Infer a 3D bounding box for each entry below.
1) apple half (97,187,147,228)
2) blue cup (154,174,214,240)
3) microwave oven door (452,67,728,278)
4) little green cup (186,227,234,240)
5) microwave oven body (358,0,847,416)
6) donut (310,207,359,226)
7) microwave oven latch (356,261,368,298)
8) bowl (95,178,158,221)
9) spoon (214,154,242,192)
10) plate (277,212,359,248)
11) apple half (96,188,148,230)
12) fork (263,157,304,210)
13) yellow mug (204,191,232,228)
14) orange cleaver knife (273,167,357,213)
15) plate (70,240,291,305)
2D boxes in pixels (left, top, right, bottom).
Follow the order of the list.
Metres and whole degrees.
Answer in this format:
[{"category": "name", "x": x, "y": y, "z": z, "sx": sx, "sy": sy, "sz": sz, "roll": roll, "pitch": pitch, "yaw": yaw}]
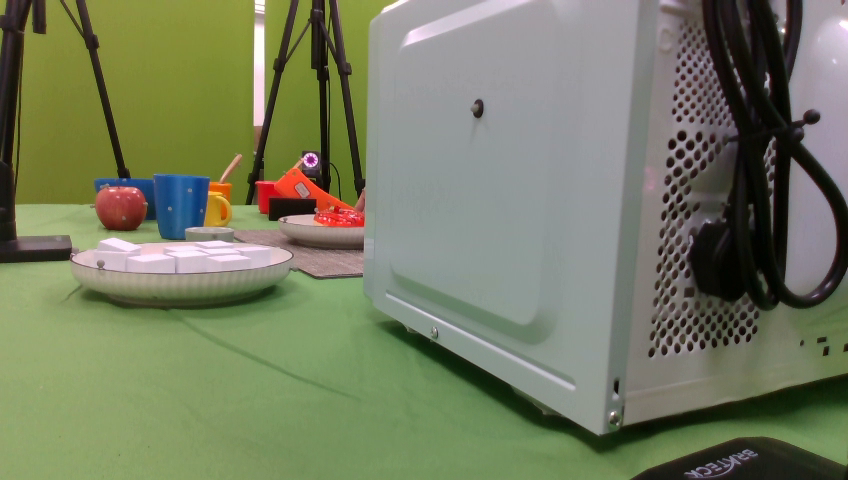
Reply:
[{"category": "apple half", "x": -0.534, "y": -0.059, "z": 1.071, "sx": 0.082, "sy": 0.081, "sz": 0.032, "roll": -1, "pitch": 11, "yaw": -25}, {"category": "blue cup", "x": -0.391, "y": -0.054, "z": 0.978, "sx": 0.093, "sy": 0.100, "sz": 0.092, "roll": 4, "pitch": 6, "yaw": 0}, {"category": "microwave oven door", "x": 0.196, "y": -0.094, "z": 0.800, "sx": 0.354, "sy": 0.243, "sz": 0.039, "roll": 8, "pitch": 9, "yaw": 36}, {"category": "little green cup", "x": -0.285, "y": 0.005, "z": 0.805, "sx": 0.061, "sy": 0.038, "sz": 0.061, "roll": 2, "pitch": 8, "yaw": 0}, {"category": "microwave oven body", "x": 0.210, "y": -0.047, "z": 0.475, "sx": 0.444, "sy": 0.260, "sz": 0.324, "roll": -1, "pitch": 7, "yaw": -28}, {"category": "donut", "x": -0.137, "y": -0.029, "z": 0.995, "sx": 0.099, "sy": 0.048, "sz": 0.099, "roll": 4, "pitch": 9, "yaw": 0}, {"category": "microwave oven latch", "x": -0.020, "y": 0.033, "z": 0.530, "sx": 0.079, "sy": 0.029, "sz": 0.030, "roll": 0, "pitch": 7, "yaw": -26}, {"category": "bowl", "x": -0.576, "y": -0.081, "z": 1.217, "sx": 0.151, "sy": 0.077, "sz": 0.151, "roll": 3, "pitch": 8, "yaw": 0}, {"category": "spoon", "x": -0.439, "y": -0.124, "z": 1.318, "sx": 0.041, "sy": 0.193, "sz": 0.022, "roll": 5, "pitch": -36, "yaw": 16}, {"category": "plate", "x": -0.134, "y": -0.017, "z": 0.992, "sx": 0.209, "sy": 0.038, "sz": 0.209, "roll": 2, "pitch": 8, "yaw": 0}, {"category": "apple half", "x": -0.517, "y": -0.052, "z": 1.036, "sx": 0.081, "sy": 0.074, "sz": 0.053, "roll": 2, "pitch": 10, "yaw": -26}, {"category": "fork", "x": -0.345, "y": -0.143, "z": 1.506, "sx": 0.028, "sy": 0.019, "sz": 0.207, "roll": -4, "pitch": 46, "yaw": 29}, {"category": "yellow mug", "x": -0.415, "y": -0.057, "z": 1.131, "sx": 0.130, "sy": 0.064, "sz": 0.100, "roll": 6, "pitch": 7, "yaw": 16}, {"category": "orange cleaver knife", "x": -0.238, "y": -0.091, "z": 1.381, "sx": 0.212, "sy": 0.077, "sz": 0.012, "roll": 31, "pitch": 0, "yaw": -19}, {"category": "plate", "x": -0.242, "y": 0.031, "z": 0.618, "sx": 0.208, "sy": 0.039, "sz": 0.207, "roll": 2, "pitch": 8, "yaw": 0}]
